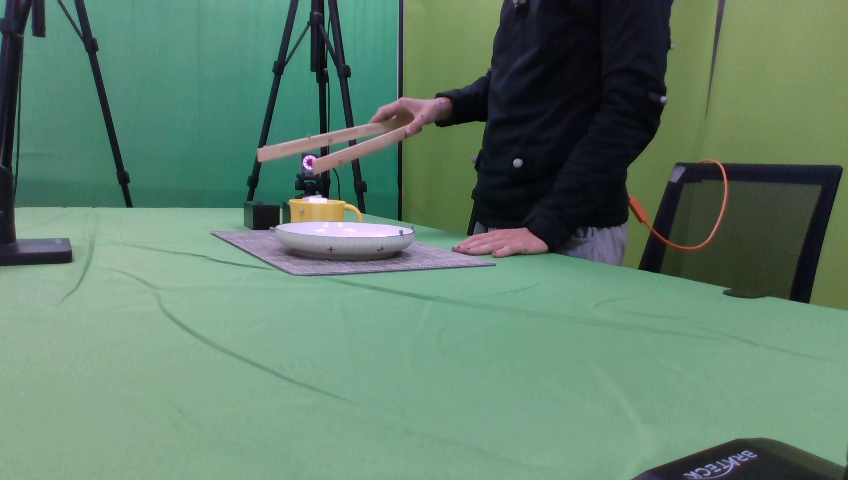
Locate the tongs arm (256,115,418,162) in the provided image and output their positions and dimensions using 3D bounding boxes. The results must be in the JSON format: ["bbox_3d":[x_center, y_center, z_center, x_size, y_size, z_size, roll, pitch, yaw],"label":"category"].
[{"bbox_3d":[-0.157,-0.206,1.206,0.050,0.026,0.386,15,28,38],"label":"tongs arm"}]

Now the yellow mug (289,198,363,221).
[{"bbox_3d":[-0.174,-0.039,1.071,0.131,0.064,0.100,3,6,0],"label":"yellow mug"}]

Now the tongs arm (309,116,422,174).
[{"bbox_3d":[-0.096,-0.190,1.164,0.028,0.028,0.389,6,23,29],"label":"tongs arm"}]

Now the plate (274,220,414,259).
[{"bbox_3d":[-0.118,-0.001,0.903,0.208,0.039,0.207,3,7,0],"label":"plate"}]
